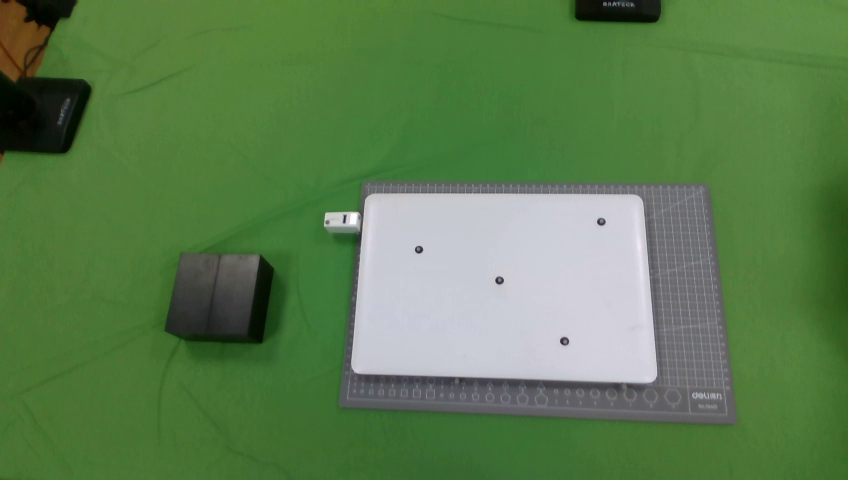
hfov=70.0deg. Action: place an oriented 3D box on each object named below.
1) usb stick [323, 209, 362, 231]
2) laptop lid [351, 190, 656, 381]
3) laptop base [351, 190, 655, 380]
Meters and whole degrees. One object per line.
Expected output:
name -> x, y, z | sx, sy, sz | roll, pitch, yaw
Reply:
usb stick -> -0.098, -0.025, 0.777 | 0.059, 0.027, 0.021 | 1, 69, 6
laptop lid -> 0.092, 0.048, 0.732 | 0.356, 0.013, 0.240 | 2, 72, 6
laptop base -> 0.093, 0.050, 0.744 | 0.354, 0.023, 0.234 | 0, 72, 5
